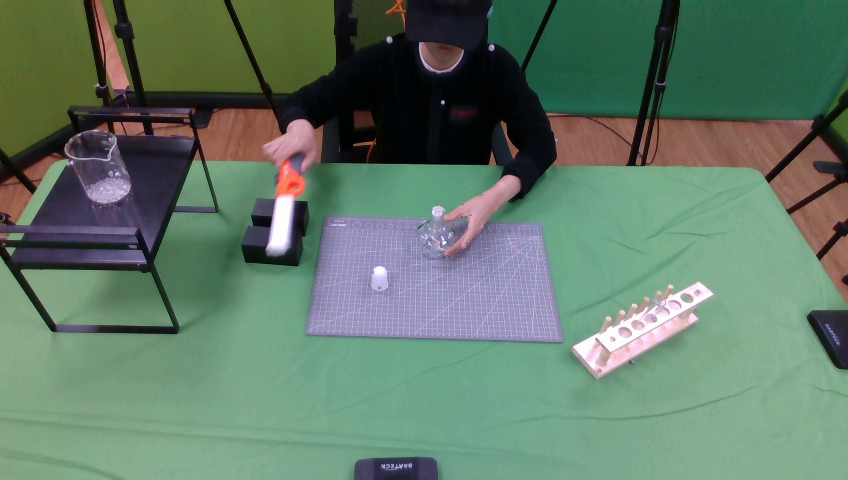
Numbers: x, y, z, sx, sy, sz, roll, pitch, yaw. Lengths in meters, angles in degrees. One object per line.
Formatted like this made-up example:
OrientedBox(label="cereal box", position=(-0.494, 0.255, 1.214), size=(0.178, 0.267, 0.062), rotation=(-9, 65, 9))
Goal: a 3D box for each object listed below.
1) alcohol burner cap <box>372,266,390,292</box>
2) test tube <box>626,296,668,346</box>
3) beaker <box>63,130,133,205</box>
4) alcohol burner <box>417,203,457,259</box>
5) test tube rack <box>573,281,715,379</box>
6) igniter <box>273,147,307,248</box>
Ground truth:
OrientedBox(label="alcohol burner cap", position=(-0.080, 0.069, 1.105), size=(0.034, 0.048, 0.033), rotation=(1, 46, 0))
OrientedBox(label="test tube", position=(0.352, 0.133, 0.970), size=(0.017, 0.151, 0.017), rotation=(3, 54, -4))
OrientedBox(label="beaker", position=(-0.511, -0.112, 0.964), size=(0.083, 0.101, 0.074), rotation=(31, 52, 23))
OrientedBox(label="alcohol burner", position=(0.025, -0.022, 1.150), size=(0.078, 0.120, 0.077), rotation=(1, 45, 0))
OrientedBox(label="test tube rack", position=(0.378, 0.140, 1.038), size=(0.242, 0.085, 0.066), rotation=(-22, 51, -23))
OrientedBox(label="igniter", position=(-0.248, -0.088, 1.121), size=(0.057, 0.025, 0.274), rotation=(-1, 44, -4))
